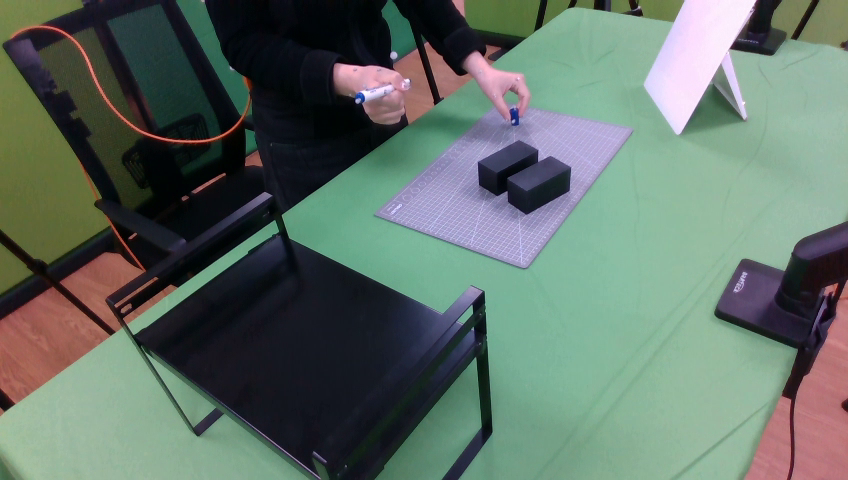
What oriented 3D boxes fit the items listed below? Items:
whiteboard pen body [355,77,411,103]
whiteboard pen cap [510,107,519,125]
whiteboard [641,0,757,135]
[{"bbox_3d":[-0.056,-0.225,0.893,0.017,0.017,0.141,17,31,26],"label":"whiteboard pen body"},{"bbox_3d":[0.178,-0.241,1.177,0.018,0.033,0.018,-8,33,6],"label":"whiteboard pen cap"},{"bbox_3d":[0.575,-0.367,1.147,0.144,0.305,0.216,10,39,-9],"label":"whiteboard"}]
